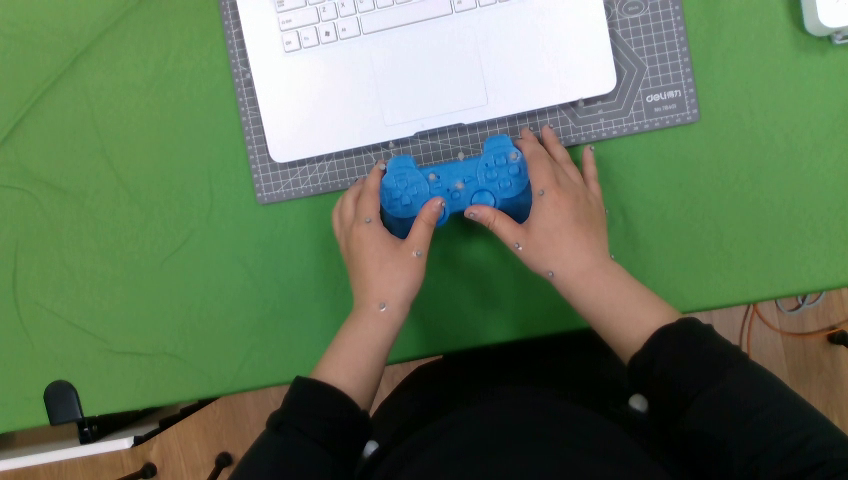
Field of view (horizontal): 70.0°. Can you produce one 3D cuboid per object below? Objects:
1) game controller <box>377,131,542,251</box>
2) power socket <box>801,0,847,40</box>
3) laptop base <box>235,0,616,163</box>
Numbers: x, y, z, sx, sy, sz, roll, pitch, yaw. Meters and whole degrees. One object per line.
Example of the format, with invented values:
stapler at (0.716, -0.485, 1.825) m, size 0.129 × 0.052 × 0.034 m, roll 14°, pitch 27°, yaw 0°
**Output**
game controller at (0.030, -0.045, 0.575) m, size 0.155 × 0.051 × 0.097 m, roll -10°, pitch 100°, yaw 7°
power socket at (0.371, -0.299, 0.544) m, size 0.072 × 0.032 × 0.226 m, roll -9°, pitch 92°, yaw 8°
laptop base at (-0.009, -0.226, 0.599) m, size 0.354 × 0.023 × 0.236 m, roll -11°, pitch 95°, yaw 7°
